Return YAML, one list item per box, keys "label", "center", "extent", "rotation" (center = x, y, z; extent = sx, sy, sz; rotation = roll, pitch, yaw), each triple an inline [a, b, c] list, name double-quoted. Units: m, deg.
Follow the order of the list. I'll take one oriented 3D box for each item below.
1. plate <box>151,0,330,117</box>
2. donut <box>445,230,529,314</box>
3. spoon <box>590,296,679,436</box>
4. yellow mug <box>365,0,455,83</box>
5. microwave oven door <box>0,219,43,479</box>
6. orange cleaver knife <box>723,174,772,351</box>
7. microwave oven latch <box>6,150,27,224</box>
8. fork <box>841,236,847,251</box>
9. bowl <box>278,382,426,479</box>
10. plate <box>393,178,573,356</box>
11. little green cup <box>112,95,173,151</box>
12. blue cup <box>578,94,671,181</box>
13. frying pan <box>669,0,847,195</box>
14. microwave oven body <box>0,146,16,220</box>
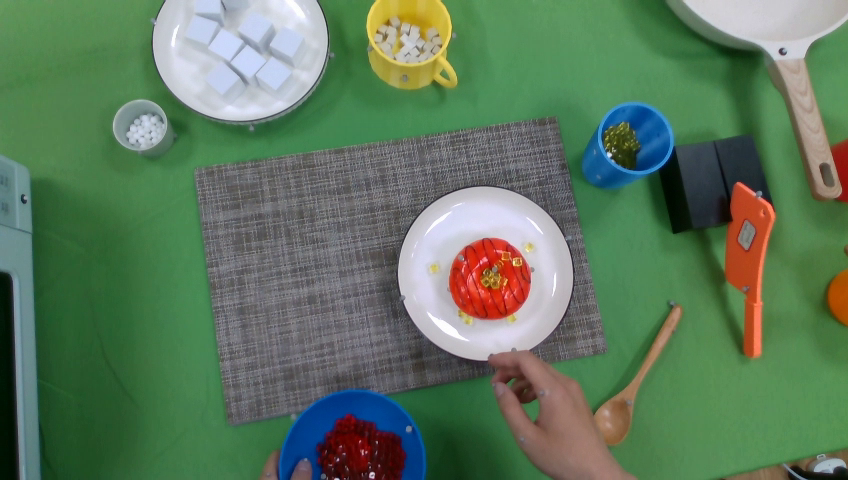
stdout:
- label: "plate"
  center: [-0.218, -0.245, 0.735]
  extent: [0.208, 0.039, 0.207]
  rotation: [1, 82, -4]
- label: "donut"
  center: [0.073, 0.038, 0.701]
  extent: [0.099, 0.048, 0.099]
  rotation: [0, 85, -4]
- label: "spoon"
  center: [0.257, 0.147, 0.721]
  extent: [0.041, 0.022, 0.193]
  rotation: [32, 81, 18]
- label: "yellow mug"
  center: [-0.010, -0.241, 0.735]
  extent: [0.131, 0.064, 0.100]
  rotation: [43, 81, 2]
- label: "microwave oven door"
  center: [-0.430, 0.143, 0.544]
  extent: [0.039, 0.244, 0.354]
  rotation: [-7, 82, -4]
- label: "orange cleaver knife"
  center: [0.378, 0.029, 0.717]
  extent: [0.012, 0.076, 0.212]
  rotation: [-10, 111, -5]
- label: "microwave oven latch"
  center: [-0.461, -0.058, 0.672]
  extent: [0.030, 0.029, 0.079]
  rotation: [-5, 83, -5]
- label: "fork"
  center: [0.503, 0.036, 0.691]
  extent: [0.209, 0.018, 0.028]
  rotation: [29, 77, -44]
- label: "bowl"
  center: [-0.076, 0.228, 0.659]
  extent: [0.151, 0.077, 0.151]
  rotation: [1, 82, -4]
- label: "plate"
  center: [0.068, 0.031, 0.712]
  extent: [0.209, 0.038, 0.208]
  rotation: [1, 83, -4]
- label: "little green cup"
  center: [-0.326, -0.135, 0.709]
  extent: [0.061, 0.038, 0.061]
  rotation: [1, 82, -5]
- label: "blue cup"
  center: [0.227, -0.112, 0.716]
  extent: [0.093, 0.100, 0.092]
  rotation: [1, 80, -5]
- label: "frying pan"
  center: [0.432, -0.287, 0.753]
  extent: [0.307, 0.103, 0.485]
  rotation: [-5, 74, -4]
- label: "microwave oven body"
  center: [-0.580, 0.118, 0.541]
  extent: [0.326, 0.260, 0.440]
  rotation: [-6, 83, -5]
